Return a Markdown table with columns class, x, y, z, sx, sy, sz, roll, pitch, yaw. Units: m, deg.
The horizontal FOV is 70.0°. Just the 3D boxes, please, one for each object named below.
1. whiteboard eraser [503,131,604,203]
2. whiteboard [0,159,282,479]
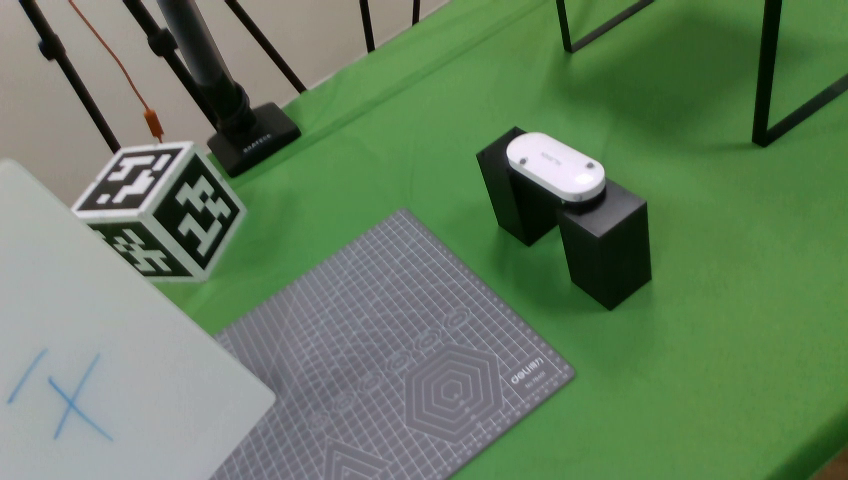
| class | x | y | z | sx | sy | sz | roll | pitch | yaw |
| --- | --- | --- | --- | --- | --- | --- | --- | --- | --- |
| whiteboard eraser | 0.108 | -0.065 | 0.517 | 0.041 | 0.019 | 0.100 | -37 | 46 | -13 |
| whiteboard | -0.319 | 0.119 | 0.516 | 0.143 | 0.308 | 0.216 | 6 | 50 | 53 |
